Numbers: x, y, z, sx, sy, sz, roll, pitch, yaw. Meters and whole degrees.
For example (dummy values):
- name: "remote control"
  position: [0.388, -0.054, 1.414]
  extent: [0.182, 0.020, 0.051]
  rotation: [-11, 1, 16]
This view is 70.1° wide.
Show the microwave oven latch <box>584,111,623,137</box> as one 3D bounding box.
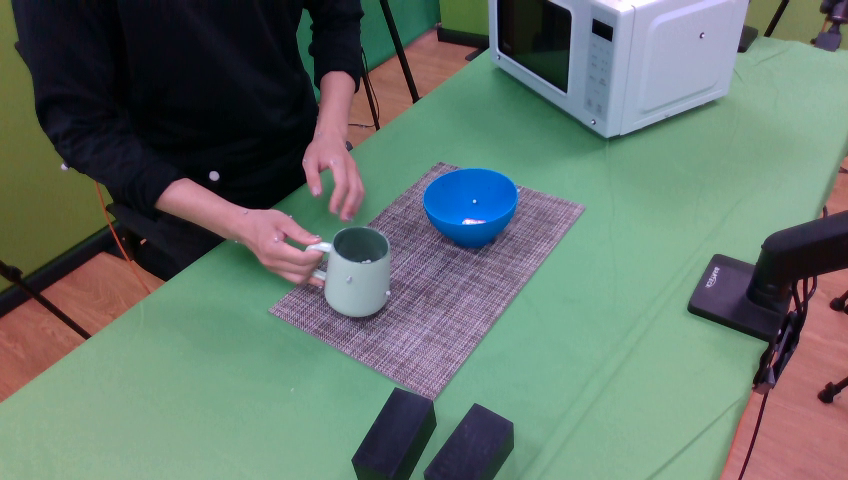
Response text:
- name: "microwave oven latch"
  position: [0.337, -0.222, 1.142]
  extent: [0.030, 0.029, 0.078]
  rotation: [-21, 42, -14]

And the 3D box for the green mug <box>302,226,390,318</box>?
- name: "green mug"
  position: [-0.107, 0.041, 0.834]
  extent: [0.125, 0.105, 0.092]
  rotation: [12, 40, 3]

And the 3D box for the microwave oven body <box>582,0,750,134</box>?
- name: "microwave oven body"
  position: [0.382, -0.445, 1.246]
  extent: [0.327, 0.261, 0.437]
  rotation: [-22, 42, -16]

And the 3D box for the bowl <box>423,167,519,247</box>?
- name: "bowl"
  position: [0.075, -0.041, 0.958]
  extent: [0.151, 0.077, 0.150]
  rotation: [-4, 40, 4]

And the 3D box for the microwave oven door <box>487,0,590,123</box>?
- name: "microwave oven door"
  position: [0.232, -0.420, 1.230]
  extent: [0.039, 0.245, 0.352]
  rotation: [-22, 43, -16]
